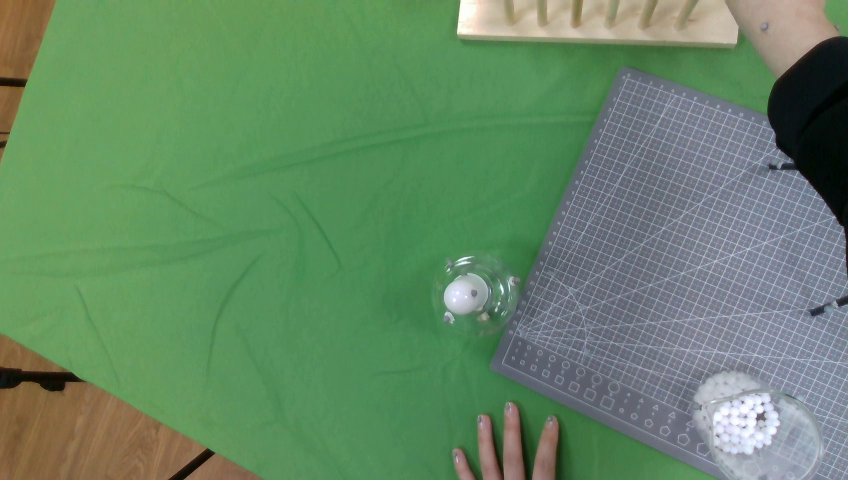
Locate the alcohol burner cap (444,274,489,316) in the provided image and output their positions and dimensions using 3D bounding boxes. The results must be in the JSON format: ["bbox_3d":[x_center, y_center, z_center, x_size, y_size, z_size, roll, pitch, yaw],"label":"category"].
[{"bbox_3d":[0.032,0.045,0.482,0.034,0.048,0.034,1,92,14],"label":"alcohol burner cap"}]

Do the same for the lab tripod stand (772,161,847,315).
[{"bbox_3d":[0.327,-0.011,0.437,0.148,0.132,0.148,0,90,12],"label":"lab tripod stand"}]

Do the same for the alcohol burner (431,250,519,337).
[{"bbox_3d":[0.041,0.046,0.517,0.078,0.119,0.078,-1,87,12],"label":"alcohol burner"}]

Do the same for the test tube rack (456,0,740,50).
[{"bbox_3d":[0.143,-0.211,0.511,0.241,0.085,0.066,6,90,13],"label":"test tube rack"}]

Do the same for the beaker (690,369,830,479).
[{"bbox_3d":[0.250,0.141,0.471,0.083,0.100,0.074,30,95,13],"label":"beaker"}]
